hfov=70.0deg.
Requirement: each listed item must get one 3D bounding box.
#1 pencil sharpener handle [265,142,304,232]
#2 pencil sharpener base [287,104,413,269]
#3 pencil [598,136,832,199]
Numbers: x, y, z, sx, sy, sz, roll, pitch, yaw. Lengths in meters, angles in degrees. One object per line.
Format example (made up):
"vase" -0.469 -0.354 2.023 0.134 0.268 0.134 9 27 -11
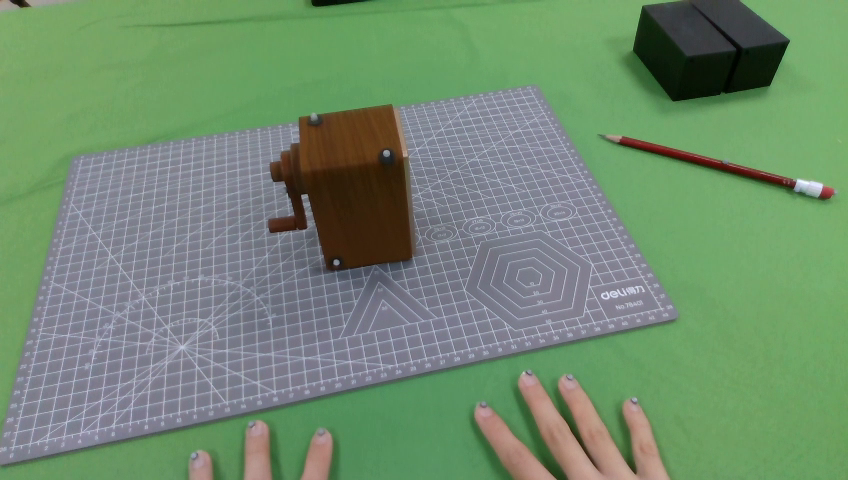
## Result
"pencil sharpener handle" -0.102 -0.034 0.424 0.031 0.068 0.035 -9 38 -5
"pencil sharpener base" -0.051 -0.036 0.440 0.077 0.108 0.060 -9 48 -5
"pencil" 0.247 -0.067 0.529 0.193 0.012 0.012 19 51 20
